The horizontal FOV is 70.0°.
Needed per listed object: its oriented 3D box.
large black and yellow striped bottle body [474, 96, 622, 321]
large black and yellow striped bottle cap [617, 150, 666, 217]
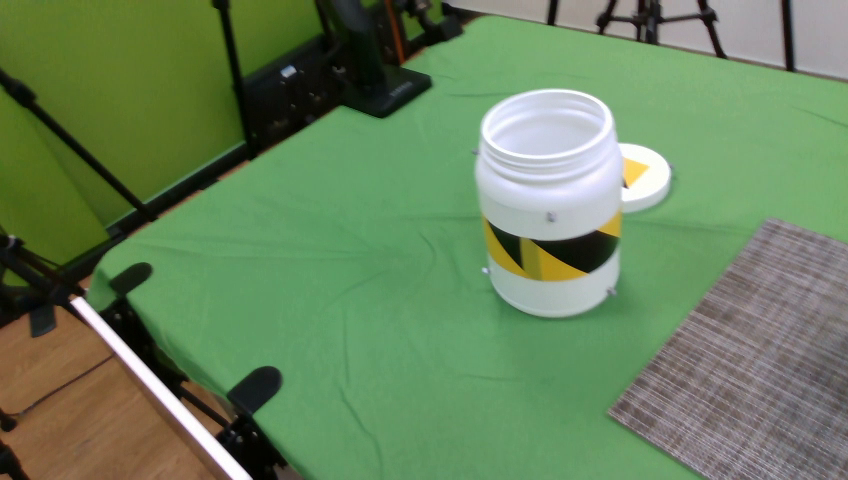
[{"bbox_3d":[0.117,-0.028,0.570,0.130,0.186,0.129,-7,41,6],"label":"large black and yellow striped bottle body"},{"bbox_3d":[0.227,-0.069,0.720,0.115,0.019,0.114,-6,41,6],"label":"large black and yellow striped bottle cap"}]
